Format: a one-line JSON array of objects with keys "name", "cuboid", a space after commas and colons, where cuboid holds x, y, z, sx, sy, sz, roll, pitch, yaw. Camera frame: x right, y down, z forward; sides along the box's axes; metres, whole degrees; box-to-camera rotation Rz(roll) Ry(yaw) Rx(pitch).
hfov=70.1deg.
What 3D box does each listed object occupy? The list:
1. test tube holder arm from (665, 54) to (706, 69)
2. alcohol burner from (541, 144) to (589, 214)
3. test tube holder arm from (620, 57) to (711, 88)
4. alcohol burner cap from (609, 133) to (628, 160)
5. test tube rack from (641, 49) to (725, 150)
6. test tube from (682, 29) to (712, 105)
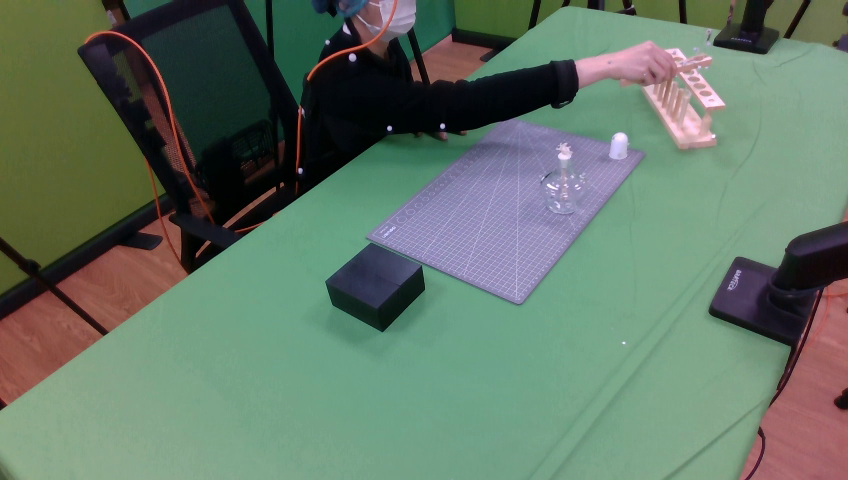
[{"name": "test tube holder arm", "cuboid": [0.481, -0.323, 1.112, 0.088, 0.015, 0.010, -22, 44, -14]}, {"name": "alcohol burner", "cuboid": [0.229, -0.102, 0.983, 0.078, 0.119, 0.077, -6, 41, 5]}, {"name": "test tube holder arm", "cuboid": [0.440, -0.305, 1.100, 0.179, 0.015, 0.013, -17, 42, -8]}, {"name": "alcohol burner cap", "cuboid": [0.356, -0.172, 1.101, 0.034, 0.048, 0.033, -5, 41, 5]}, {"name": "test tube rack", "cuboid": [0.495, -0.279, 1.175, 0.067, 0.085, 0.241, -5, 41, 3]}, {"name": "test tube", "cuboid": [0.505, -0.317, 1.123, 0.017, 0.151, 0.017, -1, 44, 1]}]
